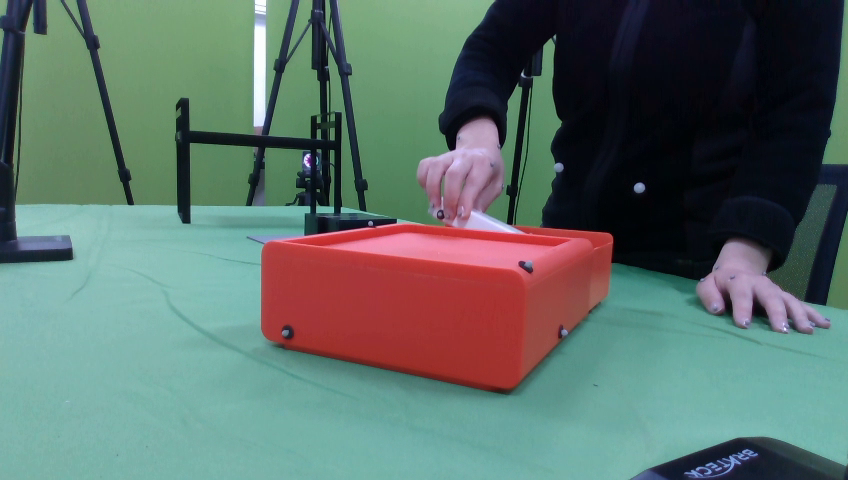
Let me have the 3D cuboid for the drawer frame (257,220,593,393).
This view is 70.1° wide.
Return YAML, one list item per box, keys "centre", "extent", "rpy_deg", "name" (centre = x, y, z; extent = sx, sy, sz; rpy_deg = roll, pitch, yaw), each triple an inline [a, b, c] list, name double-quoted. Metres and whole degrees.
- centre: [0.014, 0.037, 0.491]
  extent: [0.201, 0.082, 0.214]
  rpy_deg: [6, 9, 24]
  name: "drawer frame"

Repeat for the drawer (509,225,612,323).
- centre: [0.061, 0.030, 0.583]
  extent: [0.194, 0.073, 0.212]
  rpy_deg: [7, 9, 27]
  name: "drawer"

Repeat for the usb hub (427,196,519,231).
- centre: [0.064, -0.010, 0.622]
  extent: [0.124, 0.025, 0.050]
  rpy_deg: [28, 12, 31]
  name: "usb hub"
